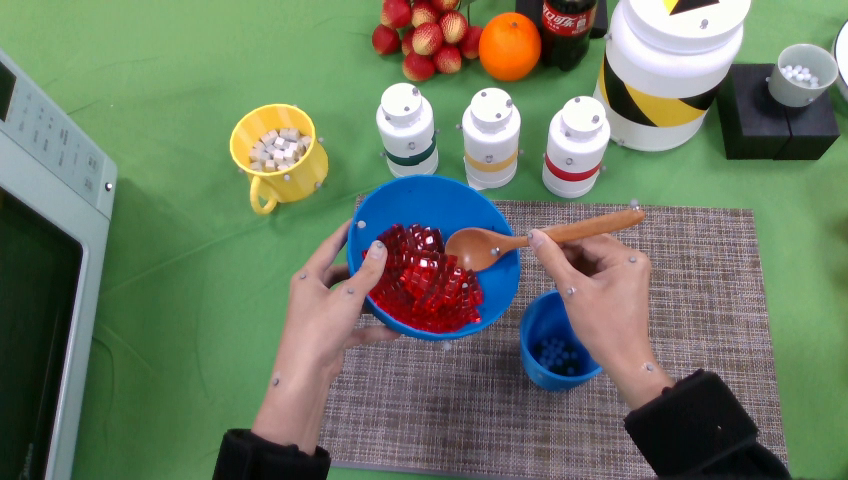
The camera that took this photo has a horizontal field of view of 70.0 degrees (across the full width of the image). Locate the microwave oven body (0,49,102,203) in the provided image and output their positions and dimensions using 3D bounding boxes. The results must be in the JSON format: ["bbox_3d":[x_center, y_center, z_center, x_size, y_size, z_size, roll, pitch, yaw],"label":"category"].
[{"bbox_3d":[-0.533,0.066,0.566,0.326,0.262,0.438,-6,66,2],"label":"microwave oven body"}]

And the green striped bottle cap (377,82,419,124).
[{"bbox_3d":[-0.028,-0.145,0.640,0.044,0.020,0.044,-1,64,3],"label":"green striped bottle cap"}]

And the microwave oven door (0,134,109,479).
[{"bbox_3d":[-0.385,0.086,0.538,0.039,0.246,0.353,-7,65,3],"label":"microwave oven door"}]

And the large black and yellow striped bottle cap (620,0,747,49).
[{"bbox_3d":[0.249,-0.234,0.585,0.115,0.019,0.114,-2,64,5],"label":"large black and yellow striped bottle cap"}]

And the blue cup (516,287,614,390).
[{"bbox_3d":[0.128,0.103,0.578,0.092,0.101,0.092,-2,65,4],"label":"blue cup"}]

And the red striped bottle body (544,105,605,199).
[{"bbox_3d":[0.163,-0.101,0.662,0.063,0.121,0.062,-5,61,9],"label":"red striped bottle body"}]

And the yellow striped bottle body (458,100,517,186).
[{"bbox_3d":[0.071,-0.116,0.675,0.063,0.121,0.062,-2,65,6],"label":"yellow striped bottle body"}]

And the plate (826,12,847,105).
[{"bbox_3d":[0.580,-0.200,0.713,0.209,0.038,0.207,-2,66,4],"label":"plate"}]

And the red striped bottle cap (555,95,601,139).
[{"bbox_3d":[0.157,-0.125,0.614,0.044,0.018,0.044,0,64,1],"label":"red striped bottle cap"}]

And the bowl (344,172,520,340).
[{"bbox_3d":[0.000,0.024,0.530,0.152,0.077,0.150,7,62,-13],"label":"bowl"}]

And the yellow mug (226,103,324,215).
[{"bbox_3d":[-0.180,-0.090,0.717,0.100,0.064,0.130,12,68,10],"label":"yellow mug"}]

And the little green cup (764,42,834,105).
[{"bbox_3d":[0.407,-0.180,0.664,0.061,0.039,0.061,-1,64,3],"label":"little green cup"}]

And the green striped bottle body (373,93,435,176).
[{"bbox_3d":[-0.022,-0.123,0.687,0.063,0.120,0.062,-2,65,4],"label":"green striped bottle body"}]

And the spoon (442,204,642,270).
[{"bbox_3d":[0.085,-0.002,0.487,0.022,0.193,0.042,-26,99,-39],"label":"spoon"}]

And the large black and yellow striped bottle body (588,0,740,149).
[{"bbox_3d":[0.258,-0.200,0.662,0.131,0.185,0.129,-2,65,5],"label":"large black and yellow striped bottle body"}]

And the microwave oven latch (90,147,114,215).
[{"bbox_3d":[-0.391,-0.069,0.721,0.030,0.030,0.078,-5,66,3],"label":"microwave oven latch"}]

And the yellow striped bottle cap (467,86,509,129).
[{"bbox_3d":[0.067,-0.138,0.629,0.044,0.019,0.044,-2,67,4],"label":"yellow striped bottle cap"}]
